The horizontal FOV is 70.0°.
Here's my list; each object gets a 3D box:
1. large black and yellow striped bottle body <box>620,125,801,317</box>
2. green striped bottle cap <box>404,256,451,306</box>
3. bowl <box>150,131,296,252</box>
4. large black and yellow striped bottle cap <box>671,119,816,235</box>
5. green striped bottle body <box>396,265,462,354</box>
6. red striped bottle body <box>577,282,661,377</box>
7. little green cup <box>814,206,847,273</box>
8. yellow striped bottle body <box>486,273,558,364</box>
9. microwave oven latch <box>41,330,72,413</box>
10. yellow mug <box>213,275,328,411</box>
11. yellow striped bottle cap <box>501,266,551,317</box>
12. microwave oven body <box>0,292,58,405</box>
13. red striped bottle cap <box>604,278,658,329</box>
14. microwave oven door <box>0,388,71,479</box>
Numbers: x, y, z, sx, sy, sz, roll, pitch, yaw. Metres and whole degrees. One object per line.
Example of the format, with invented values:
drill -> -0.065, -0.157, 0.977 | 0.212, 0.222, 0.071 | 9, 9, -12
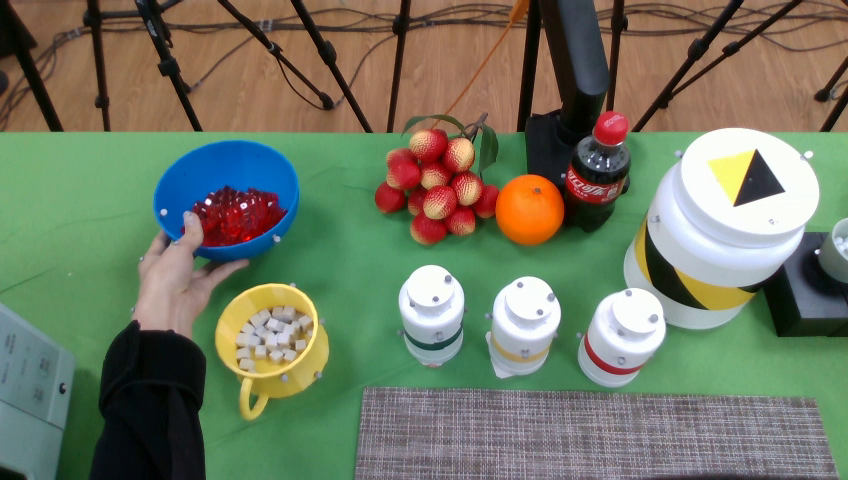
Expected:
large black and yellow striped bottle body -> 0.279, -0.016, 0.598 | 0.131, 0.185, 0.129 | -1, 60, 2
green striped bottle cap -> 0.003, 0.037, 0.554 | 0.044, 0.020, 0.044 | -1, 58, 2
bowl -> -0.214, -0.040, 0.676 | 0.151, 0.077, 0.150 | 1, 57, -2
large black and yellow striped bottle cap -> 0.275, -0.057, 0.525 | 0.115, 0.019, 0.114 | -1, 59, 2
green striped bottle body -> 0.006, 0.063, 0.599 | 0.063, 0.120, 0.062 | -1, 60, 2
red striped bottle body -> 0.187, 0.083, 0.581 | 0.063, 0.121, 0.062 | -2, 58, 4
little green cup -> 0.429, 0.002, 0.609 | 0.061, 0.039, 0.061 | 0, 58, 1
yellow striped bottle body -> 0.094, 0.072, 0.590 | 0.063, 0.121, 0.062 | -1, 59, 2
microwave oven latch -> -0.370, 0.131, 0.597 | 0.030, 0.030, 0.078 | -6, 61, -2
yellow mug -> -0.157, 0.107, 0.610 | 0.100, 0.064, 0.130 | 8, 61, 9
yellow striped bottle cap -> 0.092, 0.046, 0.545 | 0.044, 0.019, 0.044 | 0, 61, 1
microwave oven body -> -0.497, 0.252, 0.420 | 0.326, 0.262, 0.437 | -7, 60, -3
red striped bottle cap -> 0.183, 0.056, 0.536 | 0.044, 0.018, 0.044 | 1, 58, -1
microwave oven door -> -0.344, 0.267, 0.401 | 0.039, 0.246, 0.352 | -8, 60, 0
